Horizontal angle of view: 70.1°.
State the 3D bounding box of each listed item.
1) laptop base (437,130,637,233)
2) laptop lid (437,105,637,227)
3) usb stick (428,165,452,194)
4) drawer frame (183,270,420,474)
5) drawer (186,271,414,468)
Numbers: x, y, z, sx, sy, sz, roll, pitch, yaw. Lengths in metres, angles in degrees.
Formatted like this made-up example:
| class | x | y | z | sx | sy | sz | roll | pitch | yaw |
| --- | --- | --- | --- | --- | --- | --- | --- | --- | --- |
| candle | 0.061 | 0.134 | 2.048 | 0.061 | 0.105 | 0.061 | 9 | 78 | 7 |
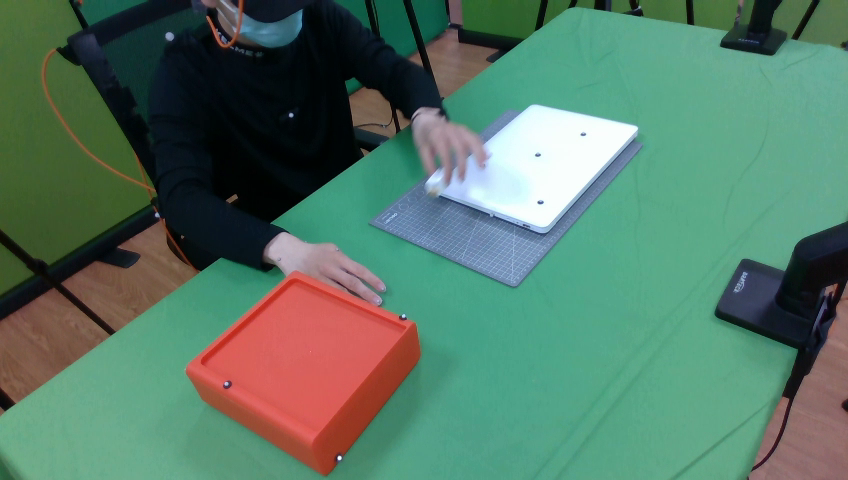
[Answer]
| class | x | y | z | sx | sy | sz | roll | pitch | yaw |
| --- | --- | --- | --- | --- | --- | --- | --- | --- | --- |
| laptop base | 0.210 | -0.142 | 1.111 | 0.233 | 0.023 | 0.355 | 21 | 47 | 34 |
| laptop lid | 0.207 | -0.152 | 1.105 | 0.239 | 0.013 | 0.358 | 23 | 49 | 34 |
| usb stick | 0.023 | -0.095 | 0.963 | 0.021 | 0.027 | 0.059 | 8 | 42 | 25 |
| drawer frame | -0.149 | 0.153 | 0.767 | 0.212 | 0.083 | 0.202 | 20 | 46 | 27 |
| drawer | -0.151 | 0.153 | 0.767 | 0.210 | 0.073 | 0.195 | 20 | 46 | 28 |
